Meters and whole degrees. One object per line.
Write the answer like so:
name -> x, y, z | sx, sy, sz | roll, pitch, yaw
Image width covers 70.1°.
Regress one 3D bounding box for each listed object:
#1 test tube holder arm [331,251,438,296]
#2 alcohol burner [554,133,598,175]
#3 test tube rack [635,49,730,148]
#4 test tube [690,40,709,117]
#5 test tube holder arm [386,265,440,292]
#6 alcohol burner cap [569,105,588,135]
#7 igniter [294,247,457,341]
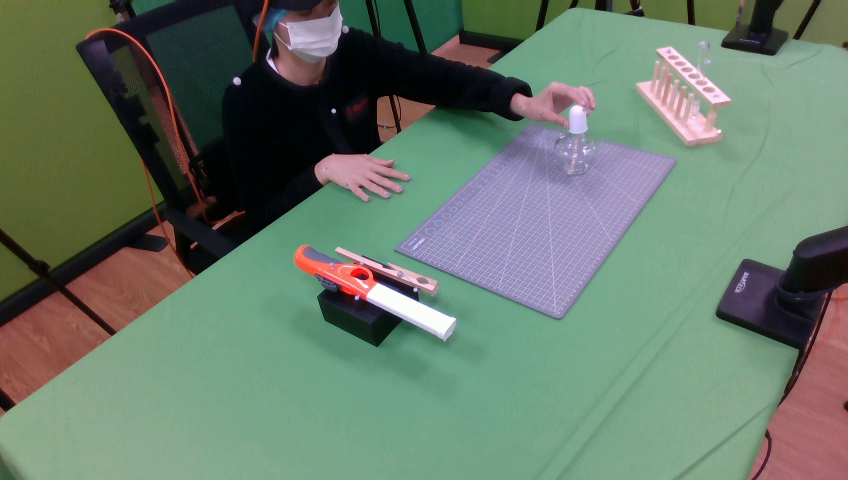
test tube holder arm -> -0.060, 0.046, 0.859 | 0.177, 0.015, 0.013 | 16, 44, 24
alcohol burner -> 0.270, -0.175, 1.066 | 0.078, 0.119, 0.077 | -4, 42, 4
test tube rack -> 0.497, -0.283, 1.185 | 0.067, 0.085, 0.240 | -10, 40, -2
test tube -> 0.510, -0.295, 1.120 | 0.017, 0.151, 0.017 | -6, 39, 6
test tube holder arm -> -0.018, 0.055, 0.843 | 0.087, 0.015, 0.010 | 18, 45, 26
alcohol burner cap -> 0.265, -0.208, 1.040 | 0.034, 0.048, 0.033 | -9, 35, 7
igniter -> -0.077, 0.068, 0.831 | 0.274, 0.025, 0.057 | 22, 48, 27
